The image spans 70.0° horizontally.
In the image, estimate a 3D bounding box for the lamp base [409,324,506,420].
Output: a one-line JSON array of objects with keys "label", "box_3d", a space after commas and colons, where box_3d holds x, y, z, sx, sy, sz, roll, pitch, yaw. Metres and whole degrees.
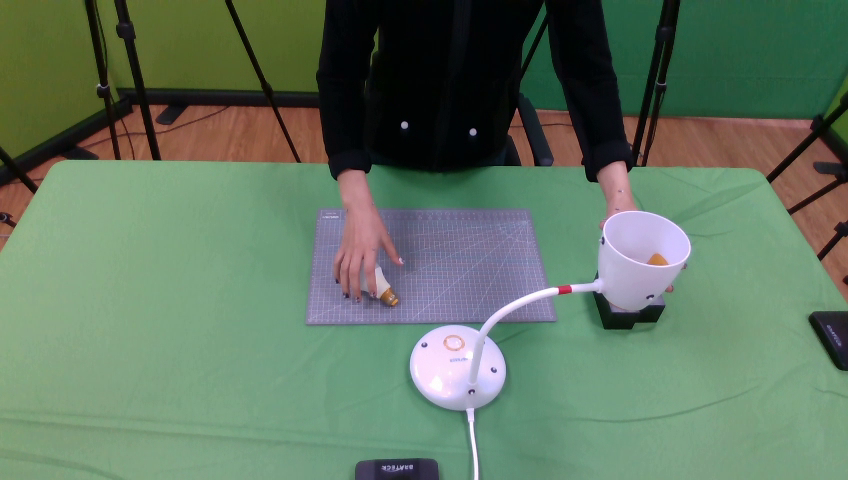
[{"label": "lamp base", "box_3d": [0.065, 0.163, 0.937, 0.161, 0.181, 0.178, -10, 51, -15]}]

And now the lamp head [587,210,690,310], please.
[{"label": "lamp head", "box_3d": [0.283, 0.038, 0.825, 0.112, 0.123, 0.111, 6, 40, -5]}]

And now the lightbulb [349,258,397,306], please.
[{"label": "lightbulb", "box_3d": [-0.090, 0.079, 1.095, 0.107, 0.060, 0.059, 43, 57, 12]}]
